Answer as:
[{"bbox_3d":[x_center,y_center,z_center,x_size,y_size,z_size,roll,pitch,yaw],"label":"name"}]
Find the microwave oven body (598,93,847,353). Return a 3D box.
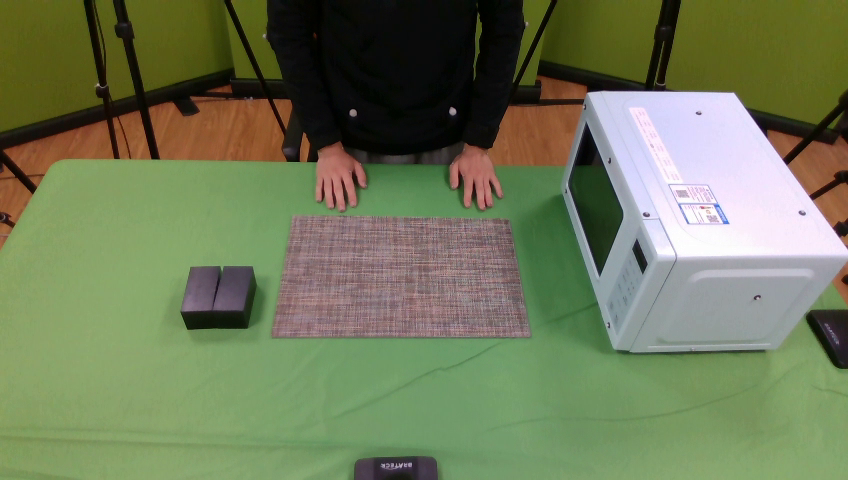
[{"bbox_3d":[0.475,-0.041,1.109,0.326,0.261,0.438,-1,45,-4],"label":"microwave oven body"}]

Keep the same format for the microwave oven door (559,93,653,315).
[{"bbox_3d":[0.327,-0.074,1.123,0.039,0.245,0.353,-1,46,-5],"label":"microwave oven door"}]

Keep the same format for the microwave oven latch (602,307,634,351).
[{"bbox_3d":[0.332,0.153,1.043,0.030,0.029,0.078,0,45,-4],"label":"microwave oven latch"}]
